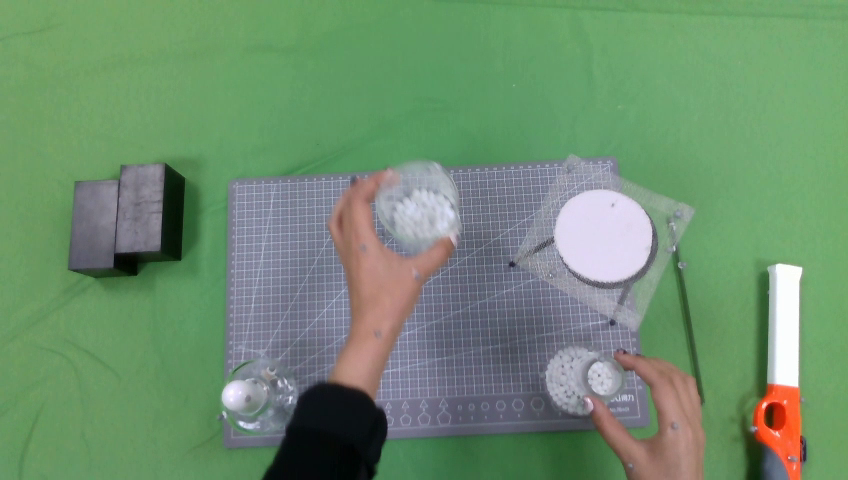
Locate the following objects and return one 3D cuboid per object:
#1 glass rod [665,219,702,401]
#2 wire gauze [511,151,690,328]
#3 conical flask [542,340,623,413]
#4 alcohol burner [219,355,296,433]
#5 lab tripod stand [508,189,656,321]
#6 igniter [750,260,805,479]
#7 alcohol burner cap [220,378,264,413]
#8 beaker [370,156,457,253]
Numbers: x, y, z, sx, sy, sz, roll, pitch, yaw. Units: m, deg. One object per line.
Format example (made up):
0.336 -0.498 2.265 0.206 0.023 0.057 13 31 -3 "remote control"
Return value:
0.281 0.073 0.657 0.008 0.008 0.198 -5 77 1 "glass rod"
0.157 -0.004 0.543 0.125 0.011 0.121 28 82 8 "wire gauze"
0.159 0.132 0.588 0.075 0.122 0.075 -1 77 3 "conical flask"
-0.170 0.153 0.600 0.078 0.119 0.077 -1 79 3 "alcohol burner"
0.163 0.012 0.608 0.148 0.132 0.147 -1 79 4 "lab tripod stand"
0.366 0.157 0.627 0.057 0.025 0.275 10 78 -6 "igniter"
-0.171 0.143 0.565 0.034 0.048 0.033 0 71 0 "alcohol burner cap"
-0.003 -0.027 0.578 0.084 0.100 0.074 33 84 8 "beaker"
